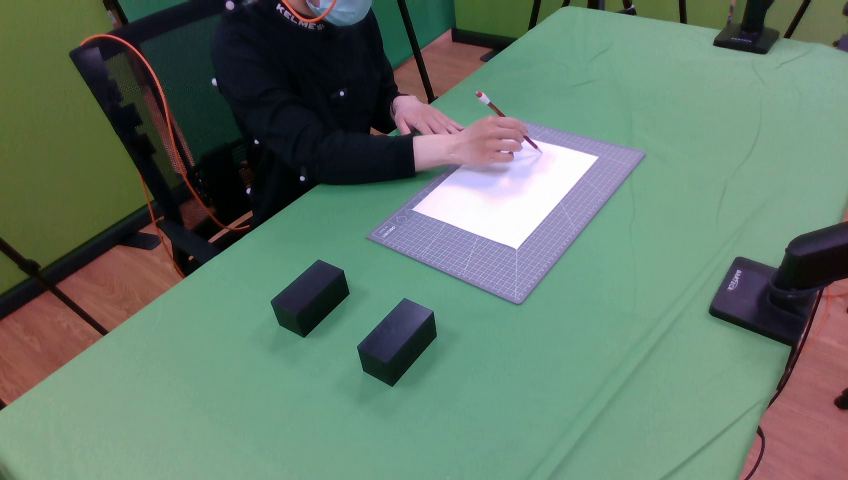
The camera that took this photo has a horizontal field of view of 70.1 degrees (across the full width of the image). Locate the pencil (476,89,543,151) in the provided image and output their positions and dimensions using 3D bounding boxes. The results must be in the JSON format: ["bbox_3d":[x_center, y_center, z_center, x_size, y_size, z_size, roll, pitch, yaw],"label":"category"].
[{"bbox_3d":[0.158,-0.210,1.083,0.012,0.196,0.012,-30,44,33],"label":"pencil"}]
